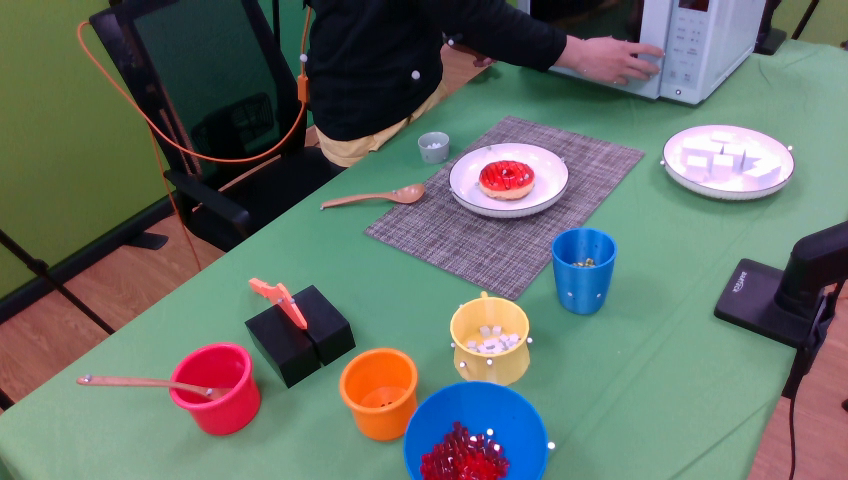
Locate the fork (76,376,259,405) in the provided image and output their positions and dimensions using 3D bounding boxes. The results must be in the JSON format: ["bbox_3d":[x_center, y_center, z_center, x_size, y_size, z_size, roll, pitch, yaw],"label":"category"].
[{"bbox_3d":[-0.295,0.176,0.716,0.209,0.018,0.028,20,26,-37],"label":"fork"}]

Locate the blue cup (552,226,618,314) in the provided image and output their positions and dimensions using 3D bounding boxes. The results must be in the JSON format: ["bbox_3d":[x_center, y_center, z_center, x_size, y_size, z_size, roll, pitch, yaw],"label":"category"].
[{"bbox_3d":[0.218,0.047,0.826,0.092,0.101,0.092,-6,40,5],"label":"blue cup"}]

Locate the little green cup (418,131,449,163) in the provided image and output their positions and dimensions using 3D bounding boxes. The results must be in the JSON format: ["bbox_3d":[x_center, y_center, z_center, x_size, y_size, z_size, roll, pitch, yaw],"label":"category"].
[{"bbox_3d":[0.019,-0.178,1.168,0.061,0.039,0.061,-3,41,3],"label":"little green cup"}]

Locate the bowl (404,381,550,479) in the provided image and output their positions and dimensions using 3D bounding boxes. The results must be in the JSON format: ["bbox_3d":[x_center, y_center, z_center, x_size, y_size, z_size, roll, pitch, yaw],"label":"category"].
[{"bbox_3d":[0.058,0.235,0.645,0.151,0.077,0.150,-4,39,4],"label":"bowl"}]

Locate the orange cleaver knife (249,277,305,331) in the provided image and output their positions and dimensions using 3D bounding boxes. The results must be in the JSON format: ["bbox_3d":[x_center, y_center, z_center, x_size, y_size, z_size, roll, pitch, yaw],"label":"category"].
[{"bbox_3d":[-0.210,0.088,0.856,0.012,0.077,0.210,-28,15,-25],"label":"orange cleaver knife"}]

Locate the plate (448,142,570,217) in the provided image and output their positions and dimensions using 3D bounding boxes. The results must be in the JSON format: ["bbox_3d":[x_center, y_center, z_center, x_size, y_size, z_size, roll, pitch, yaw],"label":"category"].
[{"bbox_3d":[0.148,-0.101,1.053,0.209,0.038,0.208,-4,40,4],"label":"plate"}]

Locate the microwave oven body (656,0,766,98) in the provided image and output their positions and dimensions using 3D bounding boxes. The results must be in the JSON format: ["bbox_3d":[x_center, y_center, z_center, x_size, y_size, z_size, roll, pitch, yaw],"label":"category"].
[{"bbox_3d":[0.473,-0.513,1.317,0.438,0.261,0.327,26,51,34],"label":"microwave oven body"}]

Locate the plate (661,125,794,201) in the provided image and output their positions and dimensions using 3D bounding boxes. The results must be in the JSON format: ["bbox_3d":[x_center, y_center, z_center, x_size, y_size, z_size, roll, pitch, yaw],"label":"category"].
[{"bbox_3d":[0.513,-0.128,1.035,0.207,0.039,0.206,-4,40,4],"label":"plate"}]

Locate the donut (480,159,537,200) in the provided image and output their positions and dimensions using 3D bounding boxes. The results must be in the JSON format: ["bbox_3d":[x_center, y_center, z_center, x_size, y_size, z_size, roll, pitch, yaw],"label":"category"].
[{"bbox_3d":[0.145,-0.106,1.042,0.099,0.048,0.098,-4,38,4],"label":"donut"}]

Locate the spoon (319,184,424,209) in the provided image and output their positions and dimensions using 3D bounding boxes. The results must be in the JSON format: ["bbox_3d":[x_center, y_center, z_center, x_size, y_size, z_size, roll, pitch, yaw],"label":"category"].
[{"bbox_3d":[-0.094,-0.076,1.074,0.193,0.022,0.041,-5,59,5],"label":"spoon"}]

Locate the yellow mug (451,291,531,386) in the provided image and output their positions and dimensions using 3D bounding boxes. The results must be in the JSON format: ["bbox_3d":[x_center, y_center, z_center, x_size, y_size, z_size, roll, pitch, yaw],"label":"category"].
[{"bbox_3d":[0.085,0.120,0.786,0.100,0.064,0.130,-7,39,1],"label":"yellow mug"}]

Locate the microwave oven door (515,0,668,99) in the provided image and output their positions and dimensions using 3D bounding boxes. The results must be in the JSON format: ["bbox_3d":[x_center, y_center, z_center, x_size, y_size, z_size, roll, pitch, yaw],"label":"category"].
[{"bbox_3d":[0.338,-0.450,1.255,0.353,0.245,0.039,29,53,35],"label":"microwave oven door"}]

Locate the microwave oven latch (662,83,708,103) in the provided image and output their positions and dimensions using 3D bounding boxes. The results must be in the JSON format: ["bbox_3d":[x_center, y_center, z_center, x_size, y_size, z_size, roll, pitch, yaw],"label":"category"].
[{"bbox_3d":[0.518,-0.297,1.204,0.078,0.029,0.030,28,52,35],"label":"microwave oven latch"}]
